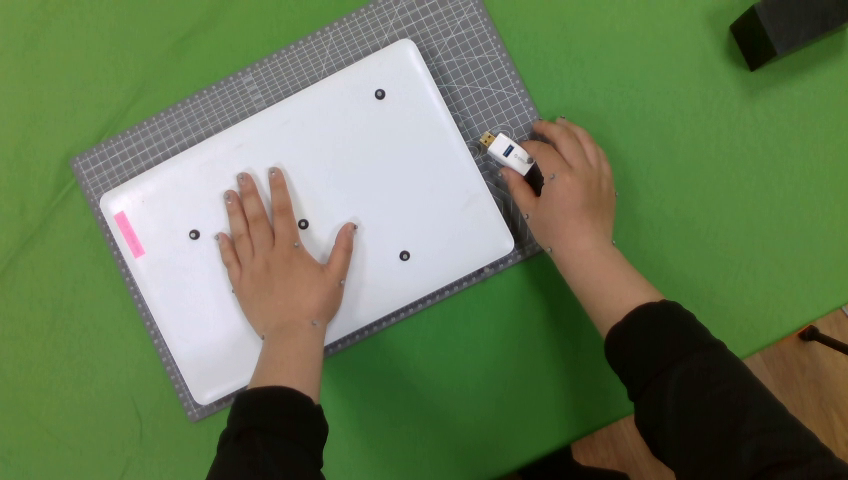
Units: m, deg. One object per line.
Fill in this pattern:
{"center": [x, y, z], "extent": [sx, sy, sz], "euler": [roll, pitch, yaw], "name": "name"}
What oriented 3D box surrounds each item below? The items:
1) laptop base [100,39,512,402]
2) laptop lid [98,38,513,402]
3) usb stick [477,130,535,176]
{"center": [-0.119, -0.018, 0.603], "extent": [0.354, 0.023, 0.235], "euler": [-27, 91, 2], "name": "laptop base"}
{"center": [-0.118, -0.016, 0.593], "extent": [0.357, 0.013, 0.241], "euler": [-25, 90, 3], "name": "laptop lid"}
{"center": [0.077, -0.087, 0.587], "extent": [0.059, 0.027, 0.021], "euler": [35, 94, 8], "name": "usb stick"}
